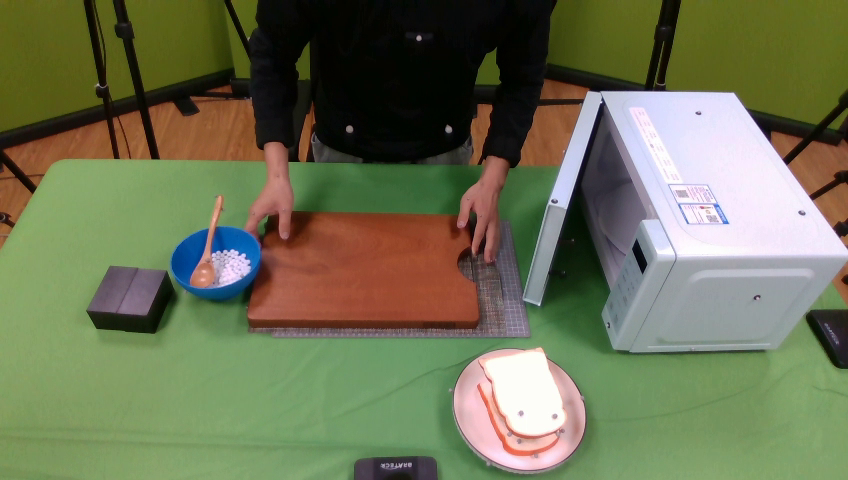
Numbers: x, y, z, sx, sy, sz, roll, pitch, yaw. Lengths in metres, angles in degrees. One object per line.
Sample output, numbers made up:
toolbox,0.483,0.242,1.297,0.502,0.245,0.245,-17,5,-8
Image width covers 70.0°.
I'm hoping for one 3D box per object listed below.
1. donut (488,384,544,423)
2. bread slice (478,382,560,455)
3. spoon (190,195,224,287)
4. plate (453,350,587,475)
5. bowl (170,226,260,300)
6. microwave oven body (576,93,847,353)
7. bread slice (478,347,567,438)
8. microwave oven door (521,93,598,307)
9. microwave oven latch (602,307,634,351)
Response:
donut,0.147,0.242,0.927,0.099,0.048,0.098,-3,41,3
bread slice,0.154,0.268,0.943,0.105,0.019,0.130,-10,47,-12
spoon,-0.383,0.000,1.088,0.041,0.022,0.193,1,66,6
plate,0.146,0.267,0.943,0.208,0.039,0.206,3,46,-2
bowl,-0.364,0.054,1.081,0.151,0.077,0.150,3,45,-2
microwave oven body,0.475,-0.041,1.109,0.326,0.261,0.438,-1,45,-4
bread slice,0.152,0.227,0.901,0.107,0.018,0.133,-11,53,-16
microwave oven door,0.259,-0.084,1.127,0.039,0.245,0.354,17,47,12
microwave oven latch,0.332,0.153,1.044,0.030,0.029,0.078,0,45,-4
